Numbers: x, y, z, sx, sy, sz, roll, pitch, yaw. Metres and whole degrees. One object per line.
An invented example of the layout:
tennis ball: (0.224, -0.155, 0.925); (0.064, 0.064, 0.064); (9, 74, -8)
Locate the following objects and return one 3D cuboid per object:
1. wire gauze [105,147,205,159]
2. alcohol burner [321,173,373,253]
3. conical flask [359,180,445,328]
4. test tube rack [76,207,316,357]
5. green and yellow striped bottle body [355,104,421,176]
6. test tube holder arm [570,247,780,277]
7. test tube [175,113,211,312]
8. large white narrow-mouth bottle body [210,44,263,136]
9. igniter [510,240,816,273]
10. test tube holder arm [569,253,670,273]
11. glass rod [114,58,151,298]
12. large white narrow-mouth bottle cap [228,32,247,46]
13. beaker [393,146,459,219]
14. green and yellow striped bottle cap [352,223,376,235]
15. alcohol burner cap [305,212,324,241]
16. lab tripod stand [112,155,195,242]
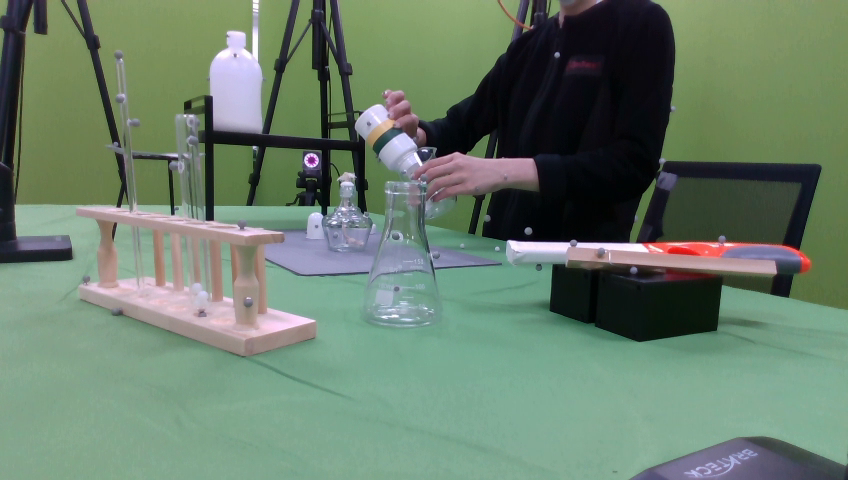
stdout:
wire gauze: (-0.407, -0.131, 0.928); (0.125, 0.011, 0.121); (2, 6, -11)
alcohol burner: (-0.115, -0.041, 0.905); (0.078, 0.119, 0.078); (0, 6, 0)
conical flask: (-0.017, 0.010, 0.522); (0.075, 0.122, 0.075); (2, 7, 0)
test tube rack: (-0.196, 0.023, 0.499); (0.241, 0.085, 0.067); (8, 9, 36)
green and yellow striped bottle body: (-0.056, -0.164, 1.014); (0.063, 0.119, 0.063); (-39, -8, -6)
test tube holder arm: (0.217, 0.019, 0.525); (0.178, 0.015, 0.013); (3, -23, 3)
test tube: (-0.174, -0.020, 0.458); (0.017, 0.150, 0.017); (-3, 5, 1)
large white narrow-mouth bottle body: (-0.369, -0.306, 1.194); (0.102, 0.194, 0.102); (3, 8, 0)
igniter: (0.220, 0.015, 0.566); (0.277, 0.025, 0.057); (2, 16, 0)
test tube holder arm: (0.172, 0.019, 0.532); (0.088, 0.015, 0.010); (3, -23, 3)
glass rod: (-0.236, -0.044, 0.492); (0.008, 0.199, 0.008); (0, 15, 0)
large white narrow-mouth bottle cap: (-0.364, -0.391, 1.180); (0.038, 0.024, 0.037); (3, 8, 0)
beaker: (0.008, -0.093, 0.986); (0.084, 0.100, 0.074); (-33, -16, 22)
green and yellow striped bottle cap: (-0.113, -0.021, 1.140); (0.045, 0.020, 0.045); (3, 6, 0)
alcohol burner cap: (-0.185, -0.023, 1.027); (0.034, 0.048, 0.034); (2, 7, 0)
lab tripod stand: (-0.405, -0.064, 0.931); (0.148, 0.131, 0.148); (1, 6, 0)
